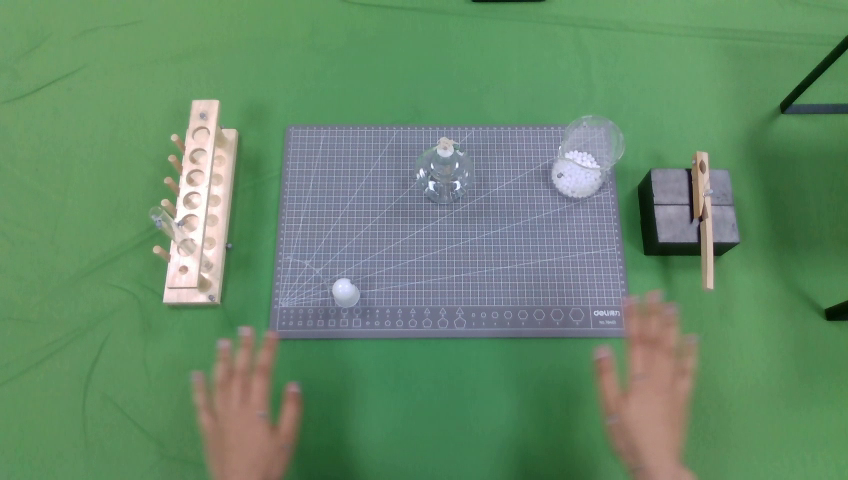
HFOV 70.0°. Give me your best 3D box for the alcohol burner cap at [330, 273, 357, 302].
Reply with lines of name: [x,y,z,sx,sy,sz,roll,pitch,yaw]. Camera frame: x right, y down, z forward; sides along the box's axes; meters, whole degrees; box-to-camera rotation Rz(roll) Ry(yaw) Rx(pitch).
alcohol burner cap: [-0.101,0.056,0.743,0.034,0.048,0.033,1,71,-2]

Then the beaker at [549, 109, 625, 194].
beaker: [0.200,-0.106,0.771,0.084,0.101,0.073,-22,72,-7]

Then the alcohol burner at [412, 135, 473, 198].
alcohol burner: [0.024,-0.099,0.759,0.078,0.120,0.077,0,72,1]

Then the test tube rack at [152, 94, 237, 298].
test tube rack: [-0.290,-0.055,0.757,0.067,0.085,0.240,0,72,0]

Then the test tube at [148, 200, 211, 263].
test tube: [-0.274,-0.006,0.689,0.017,0.151,0.017,0,67,1]

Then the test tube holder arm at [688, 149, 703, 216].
test tube holder arm: [0.340,-0.072,0.757,0.010,0.015,0.087,2,73,2]

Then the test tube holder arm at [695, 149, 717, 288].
test tube holder arm: [0.345,-0.029,0.744,0.013,0.015,0.177,0,73,1]
